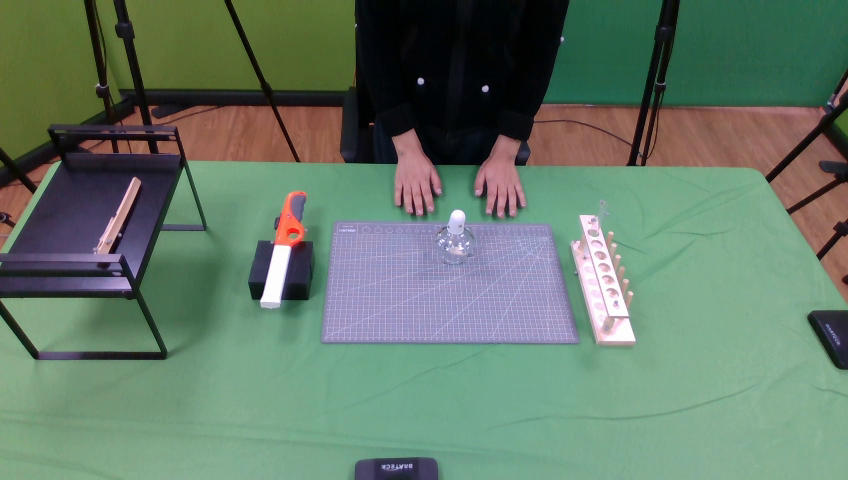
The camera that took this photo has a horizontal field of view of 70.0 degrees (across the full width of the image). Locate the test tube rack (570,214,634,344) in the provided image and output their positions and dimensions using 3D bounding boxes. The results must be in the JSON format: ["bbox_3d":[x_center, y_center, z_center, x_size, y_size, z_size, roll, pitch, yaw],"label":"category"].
[{"bbox_3d":[0.333,0.067,1.116,0.067,0.085,0.241,1,46,-4],"label":"test tube rack"}]

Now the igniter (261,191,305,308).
[{"bbox_3d":[-0.255,0.007,1.104,0.057,0.025,0.275,5,47,-4],"label":"igniter"}]

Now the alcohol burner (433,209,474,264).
[{"bbox_3d":[0.058,-0.012,1.147,0.078,0.119,0.077,3,44,-3],"label":"alcohol burner"}]

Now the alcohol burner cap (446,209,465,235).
[{"bbox_3d":[0.060,-0.036,1.120,0.034,0.048,0.033,4,50,-5],"label":"alcohol burner cap"}]

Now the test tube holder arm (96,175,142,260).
[{"bbox_3d":[-0.473,-0.039,0.946,0.013,0.015,0.177,-18,43,19],"label":"test tube holder arm"}]

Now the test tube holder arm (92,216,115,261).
[{"bbox_3d":[-0.479,-0.004,0.917,0.010,0.015,0.087,-18,44,20],"label":"test tube holder arm"}]

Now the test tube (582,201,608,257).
[{"bbox_3d":[0.316,-0.017,1.127,0.017,0.151,0.017,1,51,-1],"label":"test tube"}]
